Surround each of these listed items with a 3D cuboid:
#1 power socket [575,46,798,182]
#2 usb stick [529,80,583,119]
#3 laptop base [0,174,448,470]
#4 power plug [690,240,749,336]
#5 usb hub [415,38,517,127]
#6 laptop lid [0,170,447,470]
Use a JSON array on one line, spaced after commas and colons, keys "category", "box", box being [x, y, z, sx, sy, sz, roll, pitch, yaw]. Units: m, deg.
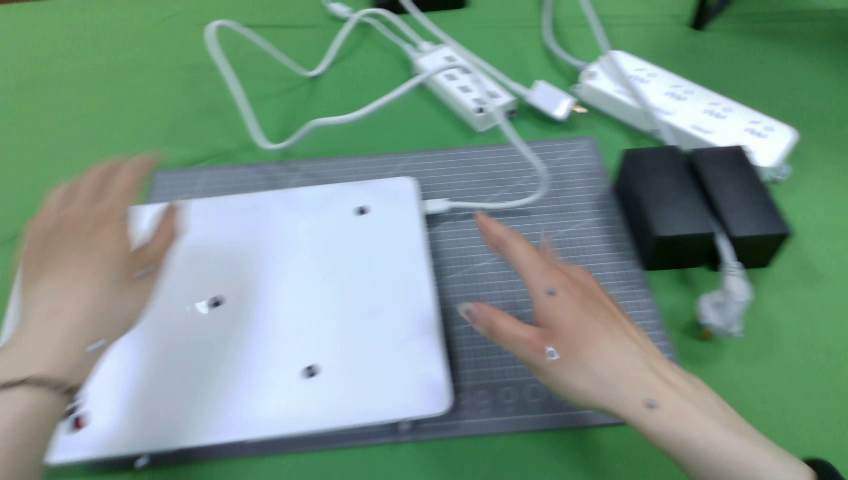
[{"category": "power socket", "box": [0.264, -0.133, 0.617, 0.225, 0.033, 0.072, 36, 62, 25]}, {"category": "usb stick", "box": [0.141, -0.146, 0.636, 0.059, 0.027, 0.021, 24, 13, 2]}, {"category": "laptop base", "box": [-0.169, 0.055, 0.508, 0.354, 0.023, 0.233, -7, 57, -2]}, {"category": "power plug", "box": [0.236, 0.043, 0.483, 0.035, 0.053, 0.072, 33, 47, 4]}, {"category": "usb hub", "box": [0.044, -0.174, 0.662, 0.049, 0.025, 0.124, -30, 57, -18]}, {"category": "laptop lid", "box": [-0.169, 0.050, 0.497, 0.357, 0.013, 0.239, -6, 56, -1]}]
